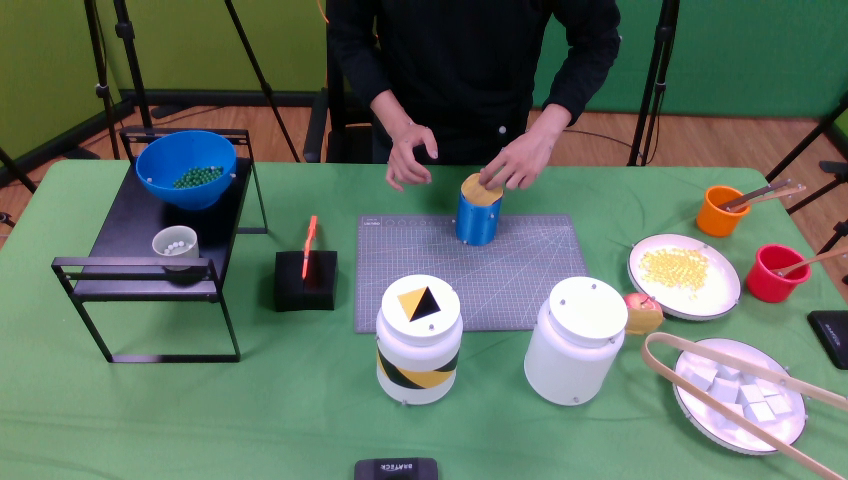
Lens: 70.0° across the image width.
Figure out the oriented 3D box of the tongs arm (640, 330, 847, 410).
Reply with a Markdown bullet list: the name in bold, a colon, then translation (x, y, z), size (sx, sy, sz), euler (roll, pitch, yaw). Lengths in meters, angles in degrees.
- **tongs arm**: translation (0.543, 0.225, 0.969), size (0.384, 0.026, 0.050), euler (22, 52, 13)

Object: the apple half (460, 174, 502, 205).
- **apple half**: translation (0.111, -0.101, 1.161), size (0.081, 0.081, 0.032), euler (16, 41, 11)

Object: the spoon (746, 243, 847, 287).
- **spoon**: translation (0.702, 0.043, 1.126), size (0.194, 0.022, 0.041), euler (-29, 38, 30)

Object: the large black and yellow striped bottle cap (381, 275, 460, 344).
- **large black and yellow striped bottle cap**: translation (-0.005, 0.099, 0.875), size (0.115, 0.019, 0.114), euler (2, 45, -2)

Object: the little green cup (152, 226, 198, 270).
- **little green cup**: translation (-0.364, 0.013, 0.894), size (0.061, 0.039, 0.061), euler (3, 47, -3)

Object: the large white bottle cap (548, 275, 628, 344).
- **large white bottle cap**: translation (0.240, 0.100, 0.890), size (0.115, 0.018, 0.114), euler (3, 47, -3)

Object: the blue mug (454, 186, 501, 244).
- **blue mug**: translation (0.106, -0.067, 1.208), size (0.082, 0.106, 0.116), euler (5, 46, 1)

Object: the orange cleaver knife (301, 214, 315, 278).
- **orange cleaver knife**: translation (-0.218, 0.007, 1.131), size (0.012, 0.077, 0.210), euler (7, 19, -9)

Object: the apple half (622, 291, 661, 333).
- **apple half**: translation (0.372, 0.123, 1.074), size (0.081, 0.075, 0.053), euler (0, 42, 1)

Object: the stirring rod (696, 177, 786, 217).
- **stirring rod**: translation (0.648, -0.087, 1.244), size (0.176, 0.006, 0.014), euler (-25, 50, 29)

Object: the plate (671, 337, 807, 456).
- **plate**: translation (0.504, 0.254, 0.984), size (0.208, 0.039, 0.206), euler (2, 46, -2)

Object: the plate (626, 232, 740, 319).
- **plate**: translation (0.488, 0.071, 1.157), size (0.209, 0.038, 0.208), euler (3, 46, -3)

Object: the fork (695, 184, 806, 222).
- **fork**: translation (0.658, -0.074, 1.230), size (0.207, 0.019, 0.028), euler (-24, 33, 36)

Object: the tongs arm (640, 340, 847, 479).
- **tongs arm**: translation (0.500, 0.277, 0.919), size (0.386, 0.028, 0.028), euler (34, 59, 22)

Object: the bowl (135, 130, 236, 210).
- **bowl**: translation (-0.375, -0.102, 0.978), size (0.151, 0.077, 0.150), euler (2, 46, -2)

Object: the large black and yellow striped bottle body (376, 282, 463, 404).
- **large black and yellow striped bottle body**: translation (-0.010, 0.155, 0.937), size (0.131, 0.185, 0.130), euler (2, 47, -2)

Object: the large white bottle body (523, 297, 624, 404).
- **large white bottle body**: translation (0.235, 0.159, 0.952), size (0.131, 0.185, 0.130), euler (2, 47, -2)
